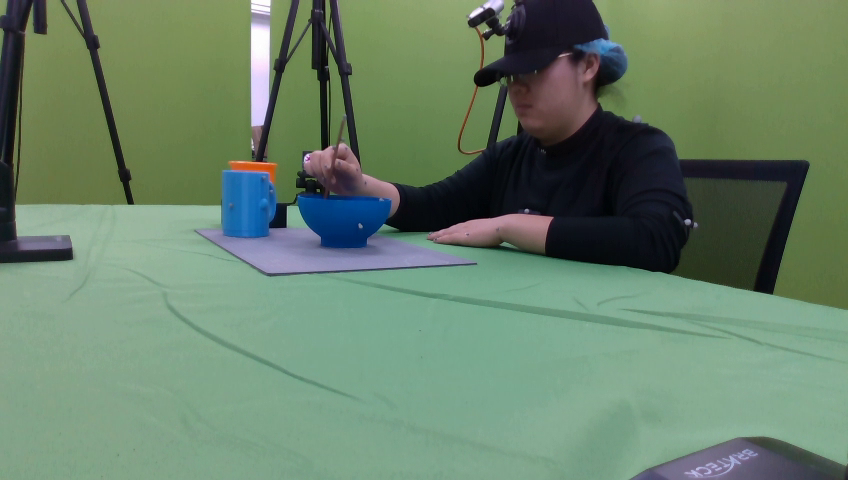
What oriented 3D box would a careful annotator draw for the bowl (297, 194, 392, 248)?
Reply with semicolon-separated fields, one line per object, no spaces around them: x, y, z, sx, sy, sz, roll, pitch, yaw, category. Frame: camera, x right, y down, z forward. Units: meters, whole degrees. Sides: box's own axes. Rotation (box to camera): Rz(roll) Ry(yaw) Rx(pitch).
-0.127;-0.030;0.964;0.151;0.077;0.151;2;7;0;bowl

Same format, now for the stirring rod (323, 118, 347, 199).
-0.146;-0.107;0.957;0.006;0.176;0.014;14;1;-10;stirring rod

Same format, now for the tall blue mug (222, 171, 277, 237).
-0.303;-0.064;1.043;0.078;0.108;0.107;1;7;-4;tall blue mug
